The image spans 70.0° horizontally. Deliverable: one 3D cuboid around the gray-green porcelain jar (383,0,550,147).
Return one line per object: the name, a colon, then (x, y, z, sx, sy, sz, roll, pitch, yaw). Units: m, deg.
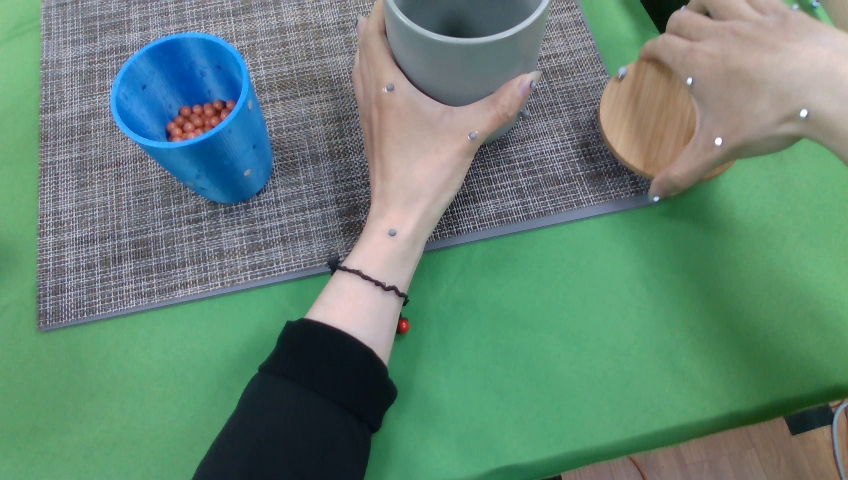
gray-green porcelain jar: (0.027, -0.135, 0.425, 0.106, 0.127, 0.105, 0, 67, 1)

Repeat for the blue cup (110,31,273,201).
blue cup: (-0.146, -0.074, 0.414, 0.092, 0.101, 0.092, 0, 68, 2)

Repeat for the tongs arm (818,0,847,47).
tongs arm: (0.374, -0.146, 0.482, 0.051, 0.027, 0.381, -9, 68, -10)

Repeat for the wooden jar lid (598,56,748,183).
wooden jar lid: (0.182, -0.088, 0.451, 0.108, 0.021, 0.107, 0, 67, 1)
